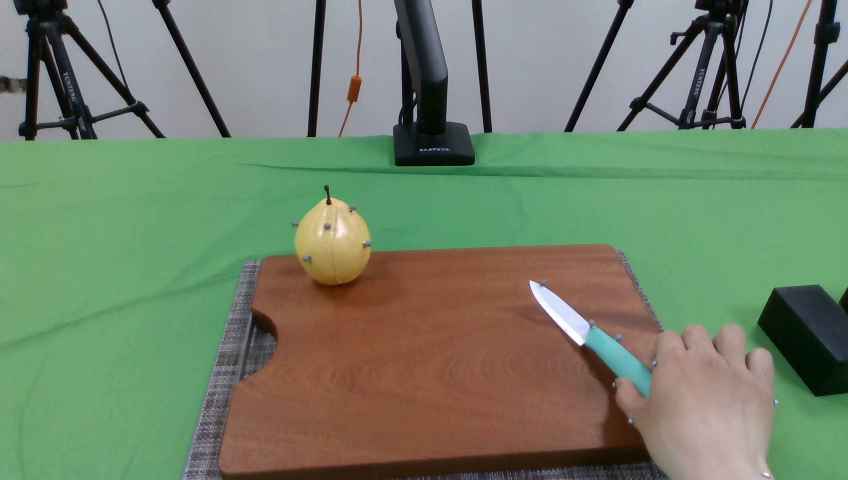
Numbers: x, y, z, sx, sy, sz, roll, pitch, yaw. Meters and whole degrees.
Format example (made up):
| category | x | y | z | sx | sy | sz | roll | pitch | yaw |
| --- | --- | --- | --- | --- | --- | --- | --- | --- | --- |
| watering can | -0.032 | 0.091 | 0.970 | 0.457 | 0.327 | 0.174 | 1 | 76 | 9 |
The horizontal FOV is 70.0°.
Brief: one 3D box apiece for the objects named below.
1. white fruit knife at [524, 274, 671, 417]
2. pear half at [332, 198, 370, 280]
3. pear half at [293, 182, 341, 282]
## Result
| category | x | y | z | sx | sy | sz | roll | pitch | yaw |
| --- | --- | --- | --- | --- | --- | --- | --- | --- | --- |
| white fruit knife | 0.154 | 0.085 | 0.566 | 0.027 | 0.016 | 0.205 | -38 | 41 | -4 |
| pear half | -0.072 | -0.001 | 0.620 | 0.031 | 0.088 | 0.070 | 3 | 30 | 3 |
| pear half | -0.107 | -0.013 | 0.618 | 0.056 | 0.111 | 0.076 | 4 | 34 | 4 |
